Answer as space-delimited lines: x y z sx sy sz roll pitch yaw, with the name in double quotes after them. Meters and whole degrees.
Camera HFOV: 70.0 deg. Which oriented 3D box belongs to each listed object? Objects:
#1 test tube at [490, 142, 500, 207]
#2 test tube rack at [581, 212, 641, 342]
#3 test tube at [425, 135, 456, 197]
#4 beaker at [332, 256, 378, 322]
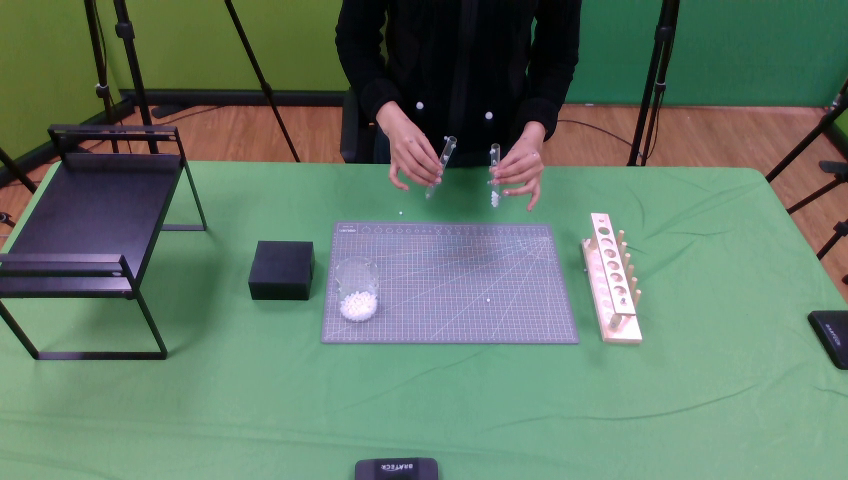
0.129 -0.116 1.102 0.017 0.151 0.017 -3 48 3 "test tube"
0.351 0.064 1.121 0.067 0.085 0.241 3 46 -1 "test tube rack"
0.028 -0.131 1.106 0.017 0.151 0.017 11 49 -12 "test tube"
-0.114 0.089 1.047 0.083 0.101 0.074 30 52 21 "beaker"
